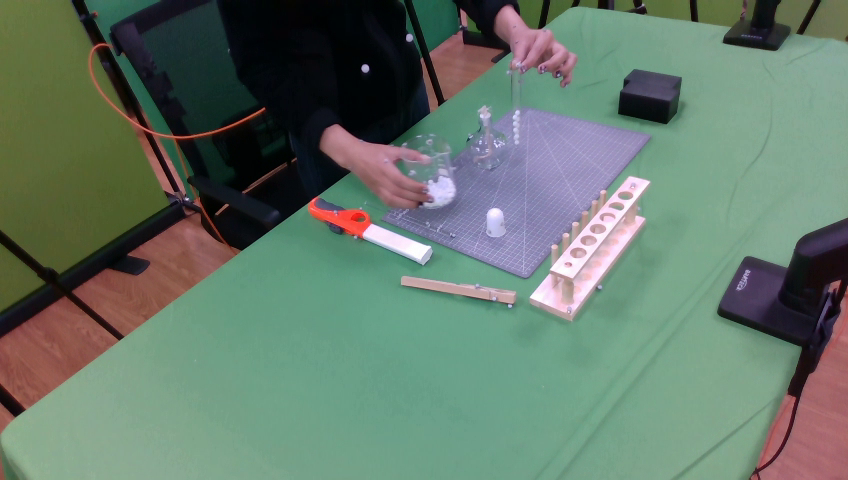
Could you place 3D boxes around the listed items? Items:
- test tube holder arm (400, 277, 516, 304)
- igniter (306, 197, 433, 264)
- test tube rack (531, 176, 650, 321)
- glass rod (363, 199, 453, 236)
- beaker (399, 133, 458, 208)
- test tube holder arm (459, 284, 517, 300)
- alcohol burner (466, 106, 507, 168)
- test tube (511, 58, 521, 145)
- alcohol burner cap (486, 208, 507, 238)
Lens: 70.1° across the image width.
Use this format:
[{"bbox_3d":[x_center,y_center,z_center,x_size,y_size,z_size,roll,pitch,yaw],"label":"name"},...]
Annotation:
[{"bbox_3d":[0.047,0.073,0.887,0.177,0.015,0.013,7,9,19],"label":"test tube holder arm"},{"bbox_3d":[-0.102,-0.020,1.019,0.274,0.025,0.057,23,60,32],"label":"igniter"},{"bbox_3d":[0.246,0.002,0.884,0.066,0.085,0.243,22,49,32],"label":"test tube rack"},{"bbox_3d":[-0.031,-0.041,1.042,0.198,0.008,0.008,22,50,32],"label":"glass rod"},{"bbox_3d":[0.013,-0.106,0.949,0.083,0.101,0.074,4,46,22],"label":"beaker"},{"bbox_3d":[0.091,0.078,0.877,0.087,0.015,0.010,7,9,20],"label":"test tube holder arm"},{"bbox_3d":[0.114,-0.193,1.112,0.078,0.119,0.077,-4,41,4],"label":"alcohol burner"},{"bbox_3d":[0.148,-0.218,0.966,0.017,0.151,0.017,-4,41,4],"label":"test tube"},{"bbox_3d":[0.116,-0.030,0.975,0.034,0.048,0.033,-6,39,5],"label":"alcohol burner cap"}]
